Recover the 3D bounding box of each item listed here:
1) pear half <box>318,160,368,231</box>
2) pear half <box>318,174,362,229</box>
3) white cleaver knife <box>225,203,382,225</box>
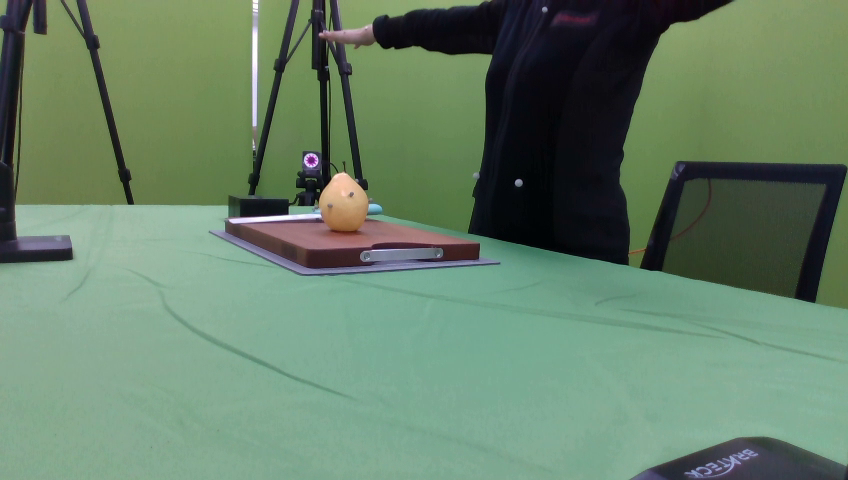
[{"bbox_3d":[-0.120,-0.067,0.927,0.077,0.110,0.055,-7,11,-29],"label":"pear half"},{"bbox_3d":[-0.136,-0.062,0.959,0.071,0.088,0.031,-7,11,-29],"label":"pear half"},{"bbox_3d":[-0.202,-0.040,1.069,0.288,0.021,0.065,-8,17,-32],"label":"white cleaver knife"}]
